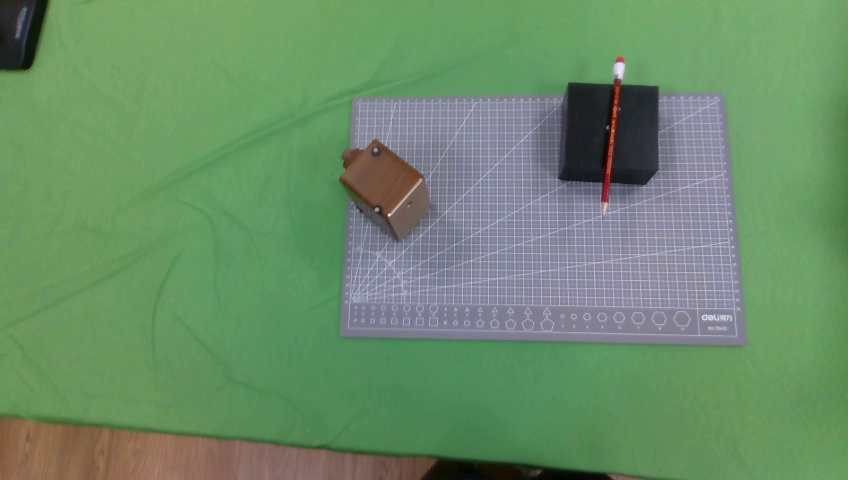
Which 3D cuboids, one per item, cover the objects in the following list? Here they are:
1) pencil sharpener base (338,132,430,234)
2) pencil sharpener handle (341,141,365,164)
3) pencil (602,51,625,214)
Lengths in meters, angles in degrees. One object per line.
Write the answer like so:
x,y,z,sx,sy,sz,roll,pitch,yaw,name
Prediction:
-0.043,-0.061,0.669,0.076,0.107,0.061,40,83,12,pencil sharpener base
-0.081,-0.098,0.667,0.030,0.068,0.036,40,91,12,pencil sharpener handle
0.207,-0.120,0.664,0.012,0.012,0.193,9,77,6,pencil
